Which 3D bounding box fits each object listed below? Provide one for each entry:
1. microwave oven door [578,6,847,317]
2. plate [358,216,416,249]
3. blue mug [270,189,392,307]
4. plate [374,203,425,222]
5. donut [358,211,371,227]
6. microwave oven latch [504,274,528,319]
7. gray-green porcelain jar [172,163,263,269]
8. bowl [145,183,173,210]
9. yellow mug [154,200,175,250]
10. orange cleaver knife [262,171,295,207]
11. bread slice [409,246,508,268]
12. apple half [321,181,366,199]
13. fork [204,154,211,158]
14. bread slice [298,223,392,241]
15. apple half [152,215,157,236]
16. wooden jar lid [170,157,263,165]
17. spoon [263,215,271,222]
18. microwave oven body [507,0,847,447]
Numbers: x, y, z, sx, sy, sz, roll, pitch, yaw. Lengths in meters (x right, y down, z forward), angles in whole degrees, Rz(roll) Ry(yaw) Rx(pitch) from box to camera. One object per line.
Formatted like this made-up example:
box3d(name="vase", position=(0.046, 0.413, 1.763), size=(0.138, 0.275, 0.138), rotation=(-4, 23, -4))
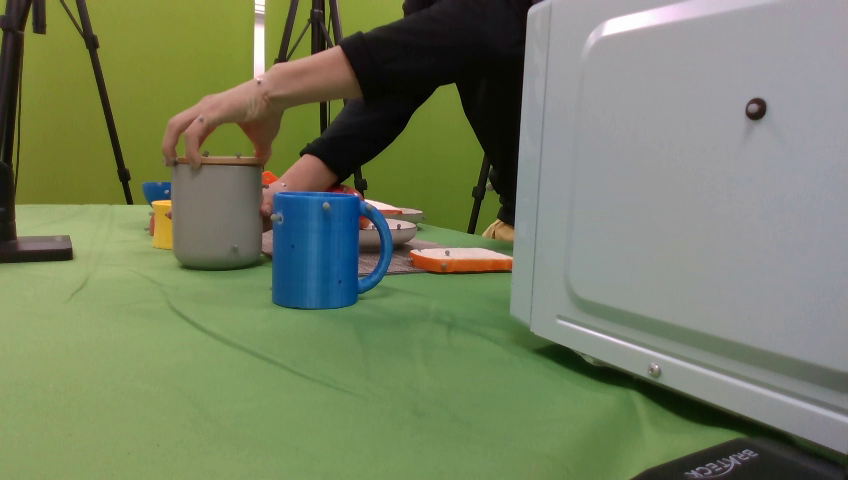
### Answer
box3d(name="microwave oven door", position=(0.294, -0.067, 0.570), size=(0.358, 0.243, 0.039), rotation=(-3, 9, -31))
box3d(name="plate", position=(-0.116, -0.014, 0.967), size=(0.208, 0.039, 0.207), rotation=(2, 7, 0))
box3d(name="blue mug", position=(-0.089, 0.005, 0.588), size=(0.117, 0.106, 0.082), rotation=(0, 7, -10))
box3d(name="plate", position=(-0.102, -0.053, 1.299), size=(0.209, 0.038, 0.209), rotation=(2, 8, 0))
box3d(name="donut", position=(-0.132, -0.041, 0.959), size=(0.099, 0.048, 0.099), rotation=(3, 8, 0))
box3d(name="microwave oven latch", position=(0.100, 0.041, 0.469), size=(0.079, 0.029, 0.030), rotation=(-1, 7, -25))
box3d(name="gray-green porcelain jar", position=(-0.255, -0.031, 0.753), size=(0.106, 0.126, 0.106), rotation=(1, 7, 0))
box3d(name="bowl", position=(-0.459, -0.068, 1.175), size=(0.151, 0.077, 0.151), rotation=(3, 7, 0))
box3d(name="yellow mug", position=(-0.337, -0.022, 0.898), size=(0.130, 0.064, 0.100), rotation=(8, 9, 35))
box3d(name="orange cleaver knife", position=(-0.283, -0.086, 1.343), size=(0.212, 0.077, 0.012), rotation=(24, -16, -41))
box3d(name="bread slice", position=(0.048, 0.021, 0.816), size=(0.132, 0.019, 0.104), rotation=(0, 7, -24))
box3d(name="apple half", position=(-0.129, -0.076, 0.951), size=(0.081, 0.033, 0.081), rotation=(3, 14, 0))
box3d(name="fork", position=(-0.480, -0.135, 1.411), size=(0.028, 0.018, 0.207), rotation=(1, -34, -1))
box3d(name="bread slice", position=(-0.121, -0.014, 0.970), size=(0.106, 0.018, 0.135), rotation=(9, 9, 41))
box3d(name="apple half", position=(-0.415, -0.034, 1.017), size=(0.081, 0.053, 0.074), rotation=(1, 10, -8))
box3d(name="wooden jar lid", position=(-0.253, -0.092, 0.745), size=(0.108, 0.020, 0.108), rotation=(0, 9, 0))
box3d(name="spoon", position=(-0.200, -0.032, 0.962), size=(0.041, 0.021, 0.195), rotation=(3, -2, 32))
box3d(name="microwave oven body", position=(0.331, -0.042, 0.425), size=(0.444, 0.260, 0.324), rotation=(-2, 8, -31))
